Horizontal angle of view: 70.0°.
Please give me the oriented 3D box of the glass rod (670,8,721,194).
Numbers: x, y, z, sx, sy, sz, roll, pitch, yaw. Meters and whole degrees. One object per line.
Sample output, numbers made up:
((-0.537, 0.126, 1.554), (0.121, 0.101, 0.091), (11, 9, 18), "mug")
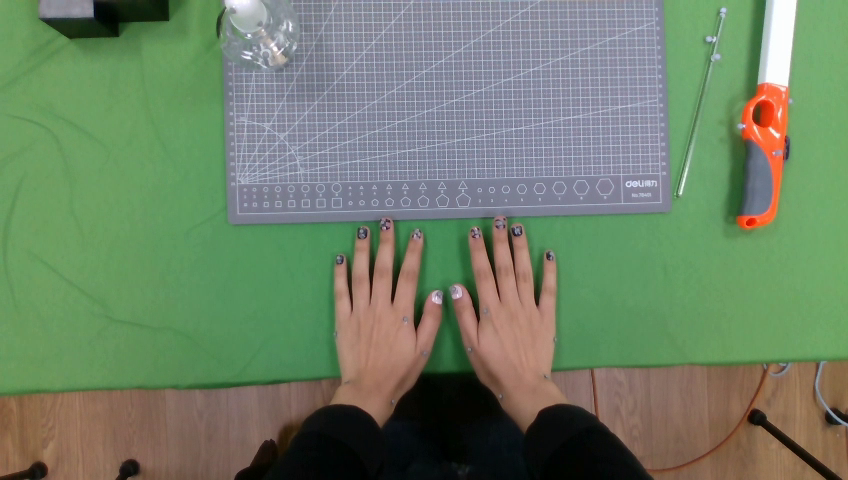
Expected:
((0.282, -0.145, 0.629), (0.008, 0.008, 0.199), (15, 89, -2), "glass rod")

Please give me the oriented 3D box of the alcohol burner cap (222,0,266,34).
((-0.155, -0.200, 0.518), (0.034, 0.048, 0.034), (0, 91, -6), "alcohol burner cap")

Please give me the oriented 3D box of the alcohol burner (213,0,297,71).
((-0.158, -0.199, 0.554), (0.078, 0.119, 0.078), (0, 87, -1), "alcohol burner")

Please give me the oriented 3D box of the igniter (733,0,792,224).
((0.352, -0.152, 0.622), (0.057, 0.025, 0.276), (7, 89, -12), "igniter")
